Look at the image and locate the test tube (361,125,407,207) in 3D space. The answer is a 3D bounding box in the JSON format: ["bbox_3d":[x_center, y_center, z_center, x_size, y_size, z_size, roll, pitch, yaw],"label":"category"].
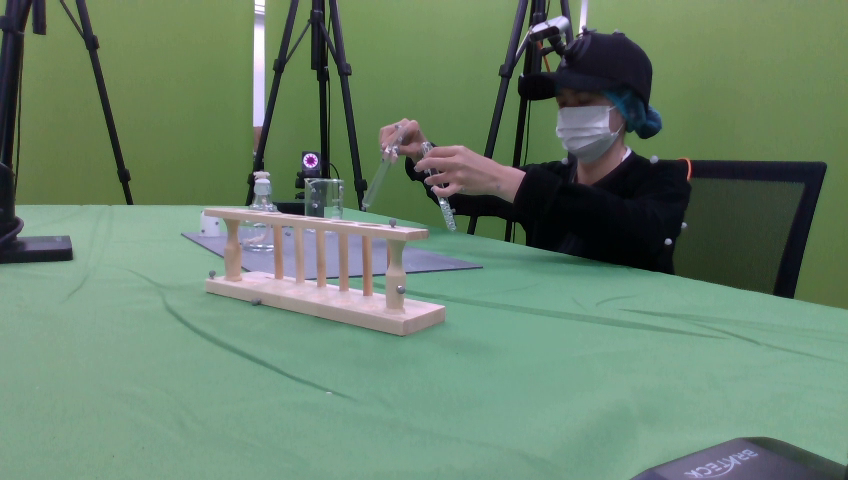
[{"bbox_3d":[-0.068,-0.122,1.012,0.017,0.150,0.017,27,7,-3],"label":"test tube"}]

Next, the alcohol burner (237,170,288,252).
[{"bbox_3d":[-0.236,-0.042,0.882,0.078,0.119,0.078,2,9,0],"label":"alcohol burner"}]

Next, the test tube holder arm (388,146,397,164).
[{"bbox_3d":[-0.056,-0.147,1.033,0.010,0.015,0.087,27,16,-15],"label":"test tube holder arm"}]

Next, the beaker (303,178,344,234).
[{"bbox_3d":[-0.189,-0.063,1.119,0.073,0.100,0.084,6,9,28],"label":"beaker"}]

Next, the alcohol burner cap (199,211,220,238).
[{"bbox_3d":[-0.356,-0.027,1.002,0.034,0.048,0.034,2,7,0],"label":"alcohol burner cap"}]

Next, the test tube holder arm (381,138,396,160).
[{"bbox_3d":[-0.062,-0.164,1.075,0.013,0.015,0.178,29,16,-9],"label":"test tube holder arm"}]

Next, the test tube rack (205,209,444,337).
[{"bbox_3d":[-0.100,0.021,0.565,0.241,0.085,0.067,7,8,32],"label":"test tube rack"}]

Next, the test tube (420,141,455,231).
[{"bbox_3d":[0.022,-0.085,0.965,0.017,0.150,0.017,-17,2,1],"label":"test tube"}]
